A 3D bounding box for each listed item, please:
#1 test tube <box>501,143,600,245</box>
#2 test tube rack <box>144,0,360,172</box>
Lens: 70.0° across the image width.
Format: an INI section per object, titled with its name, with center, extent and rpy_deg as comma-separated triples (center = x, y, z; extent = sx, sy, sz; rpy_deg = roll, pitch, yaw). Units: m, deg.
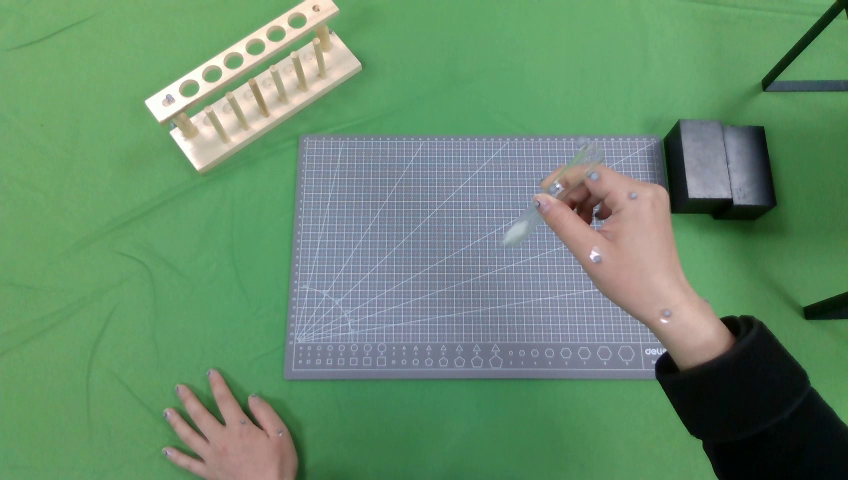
[test tube]
center = 0.088, -0.028, 0.448
extent = 0.017, 0.151, 0.017
rpy_deg = 5, 68, -12
[test tube rack]
center = -0.198, -0.190, 0.728
extent = 0.242, 0.085, 0.066
rpy_deg = -37, 77, -11
